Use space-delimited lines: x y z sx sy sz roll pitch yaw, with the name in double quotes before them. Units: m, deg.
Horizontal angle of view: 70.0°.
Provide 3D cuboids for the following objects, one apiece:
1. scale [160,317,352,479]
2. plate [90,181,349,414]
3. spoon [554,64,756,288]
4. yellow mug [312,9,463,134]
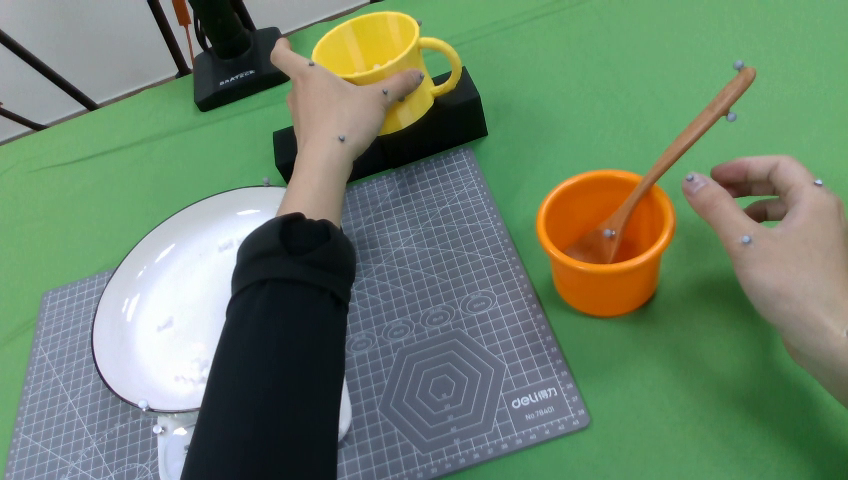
"scale" -0.142 0.082 0.488 0.148 0.032 0.198 -19 51 2
"plate" -0.156 0.042 0.481 0.209 0.038 0.207 -7 52 10
"spoon" 0.154 -0.038 0.420 0.022 0.194 0.041 11 38 -31
"yellow mug" -0.030 -0.156 0.552 0.130 0.064 0.099 -3 51 14
